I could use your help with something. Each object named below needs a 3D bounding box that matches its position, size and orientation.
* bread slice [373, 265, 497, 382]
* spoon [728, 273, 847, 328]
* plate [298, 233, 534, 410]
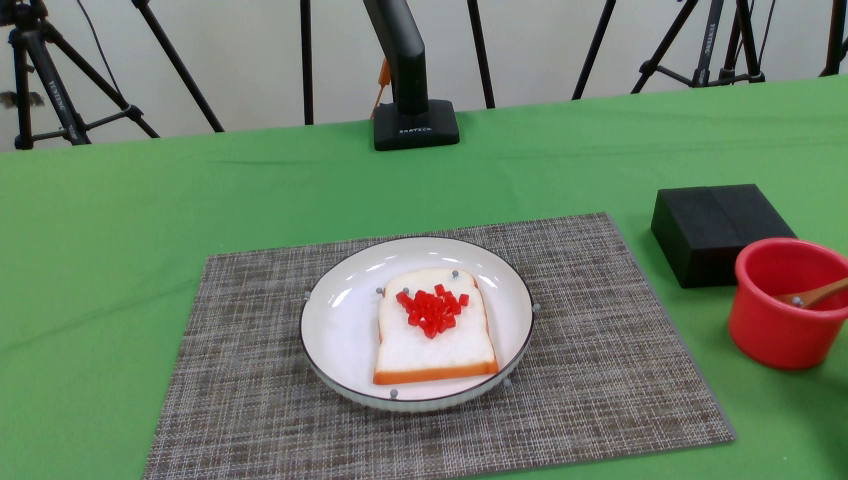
[{"bbox_3d":[0.005,0.071,0.551,0.105,0.019,0.130,-4,40,-1],"label":"bread slice"},{"bbox_3d":[0.340,0.033,0.480,0.193,0.022,0.041,-33,16,44],"label":"spoon"},{"bbox_3d":[-0.007,0.071,0.549,0.209,0.038,0.207,-3,39,3],"label":"plate"}]
